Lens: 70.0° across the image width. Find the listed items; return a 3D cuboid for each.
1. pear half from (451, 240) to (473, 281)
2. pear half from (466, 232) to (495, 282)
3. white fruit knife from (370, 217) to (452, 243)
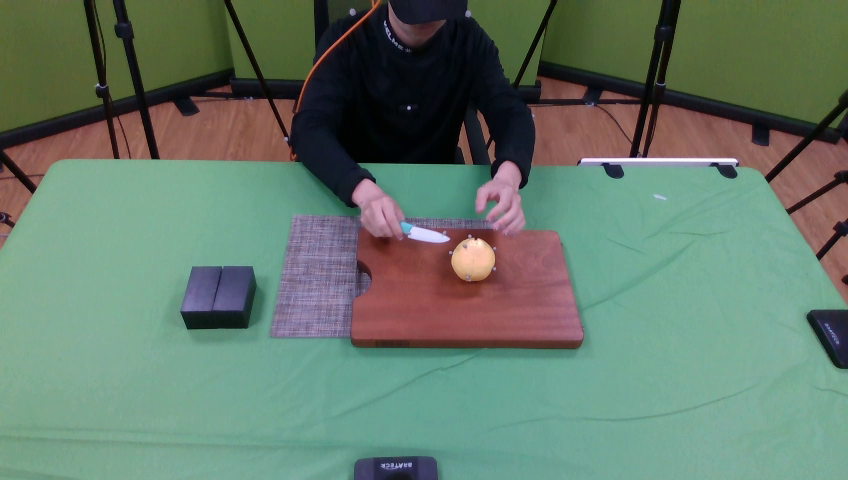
[{"bbox_3d":[0.065,0.035,1.085,0.031,0.088,0.070,-11,51,-13],"label":"pear half"},{"bbox_3d":[0.100,0.024,1.085,0.056,0.110,0.076,-10,51,-15],"label":"pear half"},{"bbox_3d":[-0.027,-0.017,1.089,0.206,0.027,0.016,13,10,43],"label":"white fruit knife"}]
